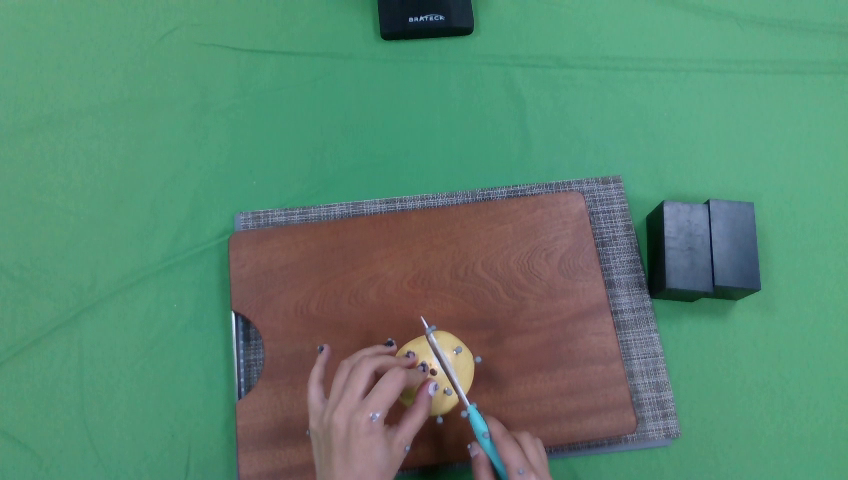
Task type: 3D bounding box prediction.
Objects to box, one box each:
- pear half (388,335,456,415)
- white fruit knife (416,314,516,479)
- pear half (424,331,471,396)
[{"bbox_3d":[-0.005,0.131,0.570,0.056,0.110,0.076,-33,75,-9],"label":"pear half"},{"bbox_3d":[0.041,0.160,0.564,0.016,0.027,0.207,-28,87,-13],"label":"white fruit knife"},{"bbox_3d":[0.028,0.114,0.587,0.031,0.088,0.070,-32,75,-15],"label":"pear half"}]
